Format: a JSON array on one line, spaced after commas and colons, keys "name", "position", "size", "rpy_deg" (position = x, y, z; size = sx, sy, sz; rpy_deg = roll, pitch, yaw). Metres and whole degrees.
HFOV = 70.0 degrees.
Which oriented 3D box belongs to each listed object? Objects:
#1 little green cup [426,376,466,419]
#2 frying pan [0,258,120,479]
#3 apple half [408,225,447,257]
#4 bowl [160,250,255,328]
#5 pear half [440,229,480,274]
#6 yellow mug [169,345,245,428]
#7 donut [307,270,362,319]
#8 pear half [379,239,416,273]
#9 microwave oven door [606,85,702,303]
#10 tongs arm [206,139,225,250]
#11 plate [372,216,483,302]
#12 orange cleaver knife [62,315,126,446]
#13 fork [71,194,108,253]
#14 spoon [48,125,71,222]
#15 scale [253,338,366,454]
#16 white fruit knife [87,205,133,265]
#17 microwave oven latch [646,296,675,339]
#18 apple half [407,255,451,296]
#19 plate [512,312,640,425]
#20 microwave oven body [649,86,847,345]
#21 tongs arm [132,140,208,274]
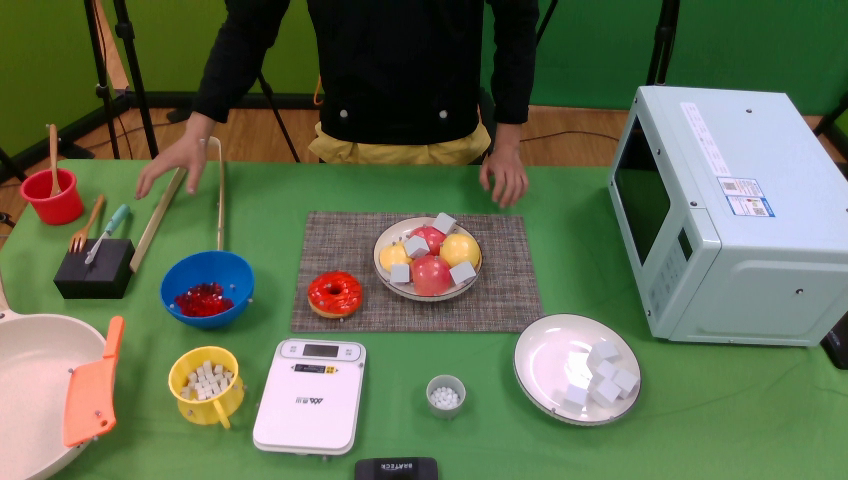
[{"name": "little green cup", "position": [0.033, 0.248, 0.950], "size": [0.061, 0.039, 0.061], "rpy_deg": [2, 46, -2]}, {"name": "frying pan", "position": [-0.647, 0.164, 0.936], "size": [0.307, 0.103, 0.485], "rpy_deg": [-19, 58, -22]}, {"name": "apple half", "position": [0.010, -0.006, 1.176], "size": [0.081, 0.033, 0.081], "rpy_deg": [1, 52, -1]}, {"name": "bowl", "position": [-0.362, 0.098, 1.040], "size": [0.151, 0.077, 0.150], "rpy_deg": [2, 45, -2]}, {"name": "pear half", "position": [0.065, 0.007, 1.150], "size": [0.076, 0.056, 0.109], "rpy_deg": [-10, 43, -2]}, {"name": "yellow mug", "position": [-0.322, 0.230, 0.922], "size": [0.100, 0.064, 0.130], "rpy_deg": [-24, 53, -25]}, {"name": "donut", "position": [-0.158, 0.097, 1.073], "size": [0.099, 0.048, 0.098], "rpy_deg": [4, 45, -4]}, {"name": "pear half", "position": [-0.048, 0.024, 1.146], "size": [0.070, 0.031, 0.087], "rpy_deg": [13, 48, -11]}, {"name": "microwave oven door", "position": [0.422, -0.094, 1.140], "size": [0.039, 0.245, 0.353], "rpy_deg": [2, 46, -1]}, {"name": "tongs arm", "position": [-0.433, -0.088, 1.245], "size": [0.051, 0.027, 0.382], "rpy_deg": [-9, 46, -6]}, {"name": "plate", "position": [0.006, 0.038, 1.145], "size": [0.209, 0.038, 0.208], "rpy_deg": [2, 46, -2]}, {"name": "orange cleaver knife", "position": [-0.480, 0.199, 0.887], "size": [0.077, 0.012, 0.210], "rpy_deg": [-9, 47, -7]}, {"name": "fork", "position": [-0.634, -0.036, 1.158], "size": [0.028, 0.019, 0.206], "rpy_deg": [-7, 31, -9]}, {"name": "spoon", "position": [-0.718, -0.131, 1.189], "size": [0.042, 0.021, 0.193], "rpy_deg": [-3, 90, -7]}, {"name": "scale", "position": [-0.175, 0.236, 0.951], "size": [0.149, 0.032, 0.199], "rpy_deg": [4, 45, -1]}, {"name": "white fruit knife", "position": [-0.584, -0.013, 1.129], "size": [0.016, 0.027, 0.206], "rpy_deg": [0, 32, -5]}, {"name": "microwave oven latch", "position": [0.412, 0.134, 1.061], "size": [0.030, 0.029, 0.078], "rpy_deg": [4, 45, 1]}, {"name": "apple half", "position": [0.011, 0.058, 1.103], "size": [0.075, 0.053, 0.080], "rpy_deg": [-6, 43, -13]}, {"name": "plate", "position": [0.246, 0.213, 0.999], "size": [0.208, 0.039, 0.206], "rpy_deg": [2, 46, -2]}, {"name": "microwave oven body", "position": [0.567, -0.053, 1.118], "size": [0.326, 0.261, 0.439], "rpy_deg": [2, 45, -1]}, {"name": "tongs arm", "position": [-0.516, -0.082, 1.239], "size": [0.028, 0.028, 0.385], "rpy_deg": [-2, 45, 6]}]
